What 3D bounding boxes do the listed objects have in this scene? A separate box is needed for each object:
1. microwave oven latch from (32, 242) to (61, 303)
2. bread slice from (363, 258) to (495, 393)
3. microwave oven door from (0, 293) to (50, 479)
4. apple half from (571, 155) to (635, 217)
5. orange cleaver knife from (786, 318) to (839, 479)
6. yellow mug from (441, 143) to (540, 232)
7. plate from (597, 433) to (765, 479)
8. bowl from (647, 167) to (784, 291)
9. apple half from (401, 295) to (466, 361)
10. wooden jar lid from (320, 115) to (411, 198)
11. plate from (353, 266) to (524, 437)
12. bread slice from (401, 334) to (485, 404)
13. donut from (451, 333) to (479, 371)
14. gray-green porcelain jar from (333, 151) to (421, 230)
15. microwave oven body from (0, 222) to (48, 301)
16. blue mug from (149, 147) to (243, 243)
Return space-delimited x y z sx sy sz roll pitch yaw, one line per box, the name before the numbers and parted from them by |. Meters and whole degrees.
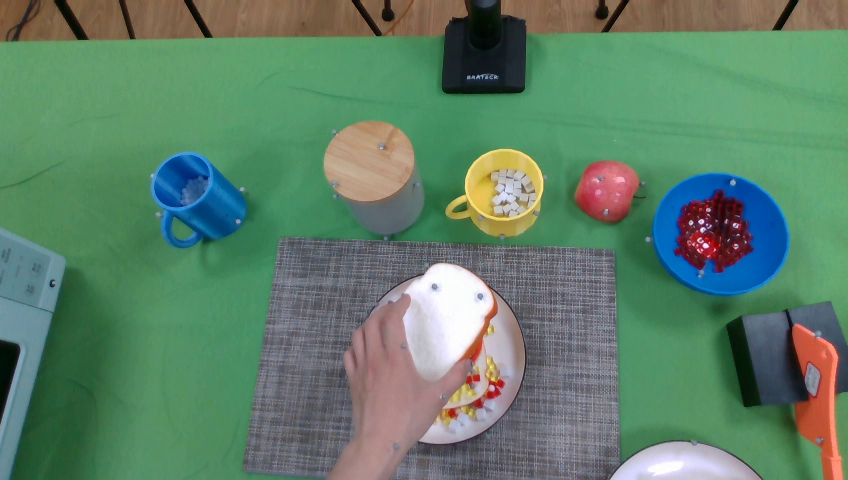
microwave oven latch | -0.516 0.043 0.815 0.030 0.030 0.078 5 73 8
bread slice | 0.010 0.081 0.655 0.104 0.019 0.131 34 79 21
microwave oven door | -0.546 0.219 0.654 0.039 0.245 0.353 2 72 8
apple half | 0.233 -0.077 0.784 0.074 0.054 0.080 24 77 16
orange cleaver knife | 0.424 0.192 0.661 0.012 0.077 0.211 -8 93 -3
yellow mug | 0.084 -0.062 0.789 0.131 0.064 0.099 -19 71 1
plate | 0.282 0.318 0.659 0.209 0.038 0.208 -2 72 6
bowl | 0.341 -0.004 0.735 0.151 0.077 0.150 -2 72 6
apple half | 0.010 0.097 0.689 0.081 0.033 0.080 -4 68 9
wooden jar lid | -0.068 -0.097 0.717 0.108 0.021 0.107 -1 70 4
plate | 0.018 0.134 0.744 0.207 0.039 0.206 -2 72 6
bread slice | 0.023 0.133 0.746 0.107 0.018 0.133 -14 71 1
donut | 0.017 0.110 0.722 0.099 0.048 0.098 -2 72 6
gray-green porcelain jar | -0.060 -0.077 0.778 0.106 0.127 0.105 -2 71 6
microwave oven body | -0.687 0.175 0.689 0.325 0.262 0.439 2 73 7
blue mug | -0.309 -0.049 0.806 0.082 0.106 0.116 23 76 13
